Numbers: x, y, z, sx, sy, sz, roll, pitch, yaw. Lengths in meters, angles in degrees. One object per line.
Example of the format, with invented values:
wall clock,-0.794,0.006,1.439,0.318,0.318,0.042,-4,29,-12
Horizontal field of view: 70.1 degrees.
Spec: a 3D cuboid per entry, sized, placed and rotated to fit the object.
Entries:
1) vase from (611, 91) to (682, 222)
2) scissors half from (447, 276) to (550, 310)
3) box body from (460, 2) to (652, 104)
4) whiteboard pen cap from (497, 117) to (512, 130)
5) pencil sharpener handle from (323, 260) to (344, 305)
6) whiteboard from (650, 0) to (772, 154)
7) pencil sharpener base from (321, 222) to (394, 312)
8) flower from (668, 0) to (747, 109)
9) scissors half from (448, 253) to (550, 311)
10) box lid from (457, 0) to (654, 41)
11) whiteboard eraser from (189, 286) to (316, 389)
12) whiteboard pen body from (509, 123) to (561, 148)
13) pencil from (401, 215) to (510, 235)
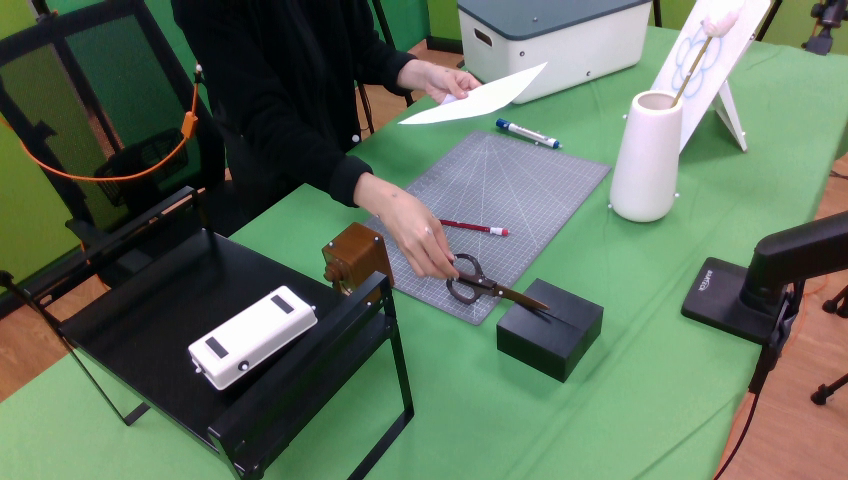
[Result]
vase,0.348,-0.125,0.935,0.098,0.201,0.097,-3,40,3
scissors half,0.098,0.077,0.827,0.013,0.040,0.174,-14,14,-43
box body,0.291,-0.465,1.371,0.365,0.161,0.252,-22,42,-16
whiteboard pen cap,0.165,-0.235,1.226,0.033,0.018,0.018,33,54,31
pencil sharpener handle,-0.131,0.061,0.839,0.035,0.068,0.031,29,56,27
whiteboard,0.543,-0.298,1.076,0.144,0.305,0.216,12,40,-7
pencil sharpener base,-0.096,0.041,0.873,0.061,0.107,0.077,25,54,32
flower,0.354,-0.187,0.879,0.038,0.362,0.044,30,48,14
scissors half,0.098,0.058,0.821,0.173,0.040,0.013,28,34,37
box lid,0.285,-0.522,1.323,0.373,0.015,0.261,-22,43,-16
whiteboard eraser,-0.166,0.096,0.593,0.113,0.042,0.055,-36,47,-29
whiteboard pen body,0.209,-0.211,1.195,0.139,0.017,0.017,29,52,33
pencil,0.049,-0.027,1.007,0.193,0.012,0.012,10,43,21
